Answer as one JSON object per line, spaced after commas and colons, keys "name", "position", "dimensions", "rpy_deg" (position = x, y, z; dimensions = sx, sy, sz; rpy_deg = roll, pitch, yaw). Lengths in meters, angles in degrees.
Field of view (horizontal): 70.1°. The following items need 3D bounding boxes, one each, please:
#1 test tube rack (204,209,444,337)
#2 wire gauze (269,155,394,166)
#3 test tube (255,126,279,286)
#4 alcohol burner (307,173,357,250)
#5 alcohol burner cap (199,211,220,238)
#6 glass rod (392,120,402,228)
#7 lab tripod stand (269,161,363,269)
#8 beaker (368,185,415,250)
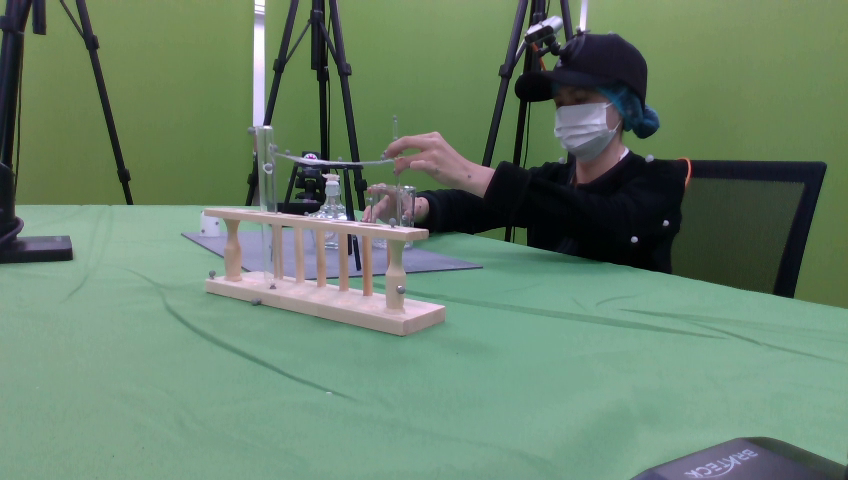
{"name": "test tube rack", "position": [-0.100, 0.021, 0.565], "dimensions": [0.241, 0.085, 0.067], "rpy_deg": [7, 9, 32]}
{"name": "wire gauze", "position": [-0.121, -0.102, 0.785], "dimensions": [0.122, 0.011, 0.124], "rpy_deg": [-3, 10, -38]}
{"name": "test tube", "position": [-0.147, -0.031, 0.566], "dimensions": [0.017, 0.150, 0.017], "rpy_deg": [-1, 8, 0]}
{"name": "alcohol burner", "position": [-0.144, -0.045, 0.940], "dimensions": [0.078, 0.119, 0.078], "rpy_deg": [1, 8, 0]}
{"name": "alcohol burner cap", "position": [-0.356, -0.027, 1.002], "dimensions": [0.034, 0.048, 0.034], "rpy_deg": [2, 7, 0]}
{"name": "glass rod", "position": [-0.040, -0.086, 0.938], "dimensions": [0.008, 0.199, 0.008], "rpy_deg": [-3, 7, 1]}
{"name": "lab tripod stand", "position": [-0.125, -0.036, 0.794], "dimensions": [0.148, 0.131, 0.148], "rpy_deg": [5, 7, 0]}
{"name": "beaker", "position": [-0.051, -0.036, 0.957], "dimensions": [0.074, 0.100, 0.083], "rpy_deg": [-1, 9, -24]}
